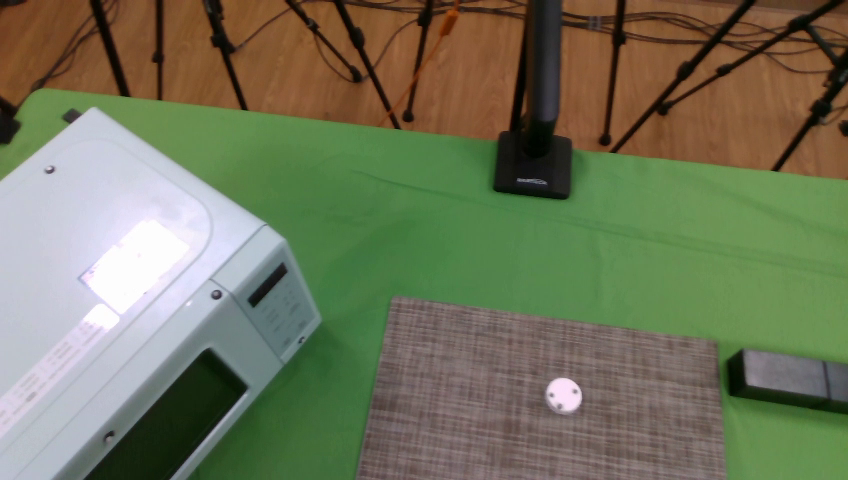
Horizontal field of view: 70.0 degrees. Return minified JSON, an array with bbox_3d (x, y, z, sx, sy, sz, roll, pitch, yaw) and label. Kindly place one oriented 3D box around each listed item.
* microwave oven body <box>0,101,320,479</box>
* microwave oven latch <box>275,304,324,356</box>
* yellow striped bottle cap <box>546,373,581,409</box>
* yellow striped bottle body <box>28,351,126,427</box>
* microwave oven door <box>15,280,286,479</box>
[{"bbox_3d":[-0.394,0.119,0.695,0.324,0.262,0.440,33,68,16],"label":"microwave oven body"},{"bbox_3d":[-0.167,0.114,0.805,0.030,0.030,0.079,35,69,17],"label":"microwave oven latch"},{"bbox_3d":[0.182,0.196,0.787,0.044,0.019,0.044,-1,62,2],"label":"yellow striped bottle cap"},{"bbox_3d":[-0.390,0.166,0.680,0.063,0.121,0.062,1,61,-1],"label":"yellow striped bottle body"},{"bbox_3d":[-0.301,0.222,0.634,0.039,0.246,0.355,33,67,17],"label":"microwave oven door"}]
